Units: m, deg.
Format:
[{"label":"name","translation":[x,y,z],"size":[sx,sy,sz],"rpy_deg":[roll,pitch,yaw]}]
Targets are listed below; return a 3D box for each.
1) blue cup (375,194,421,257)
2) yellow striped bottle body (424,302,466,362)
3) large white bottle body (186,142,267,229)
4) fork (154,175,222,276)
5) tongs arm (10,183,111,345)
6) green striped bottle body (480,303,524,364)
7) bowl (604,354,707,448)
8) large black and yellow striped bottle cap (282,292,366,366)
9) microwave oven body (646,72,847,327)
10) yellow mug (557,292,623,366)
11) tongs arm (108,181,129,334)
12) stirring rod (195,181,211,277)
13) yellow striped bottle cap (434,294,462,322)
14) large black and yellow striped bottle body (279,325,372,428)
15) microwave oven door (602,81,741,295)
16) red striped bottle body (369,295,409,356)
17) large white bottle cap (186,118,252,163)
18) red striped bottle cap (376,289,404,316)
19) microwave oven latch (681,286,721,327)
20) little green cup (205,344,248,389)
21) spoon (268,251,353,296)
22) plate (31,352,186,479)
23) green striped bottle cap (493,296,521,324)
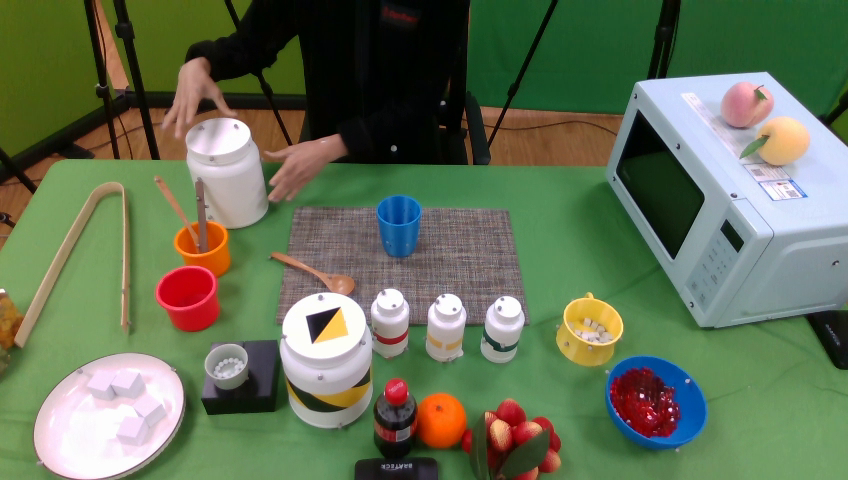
[{"label":"blue cup","translation":[-0.050,-0.022,1.155],"size":[0.093,0.101,0.092],"rpy_deg":[1,46,-1]},{"label":"yellow striped bottle body","translation":[0.035,0.143,0.995],"size":[0.063,0.121,0.062],"rpy_deg":[3,46,-3]},{"label":"large white bottle body","translation":[-0.382,-0.127,1.176],"size":[0.131,0.185,0.130],"rpy_deg":[2,47,-2]},{"label":"fork","translation":[-0.431,-0.027,1.101],"size":[0.028,0.018,0.207],"rpy_deg":[-33,100,-25]},{"label":"tongs arm","translation":[-0.658,0.027,1.109],"size":[0.028,0.028,0.385],"rpy_deg":[-2,45,2]},{"label":"green striped bottle body","translation":[0.129,0.147,1.000],"size":[0.063,0.120,0.063],"rpy_deg":[2,46,-2]},{"label":"bowl","translation":[0.346,0.261,0.937],"size":[0.151,0.077,0.150],"rpy_deg":[2,46,-2]},{"label":"large black and yellow striped bottle cap","translation":[-0.138,0.121,0.841],"size":[0.115,0.019,0.114],"rpy_deg":[3,47,-3]},{"label":"microwave oven body","translation":[0.607,-0.089,1.164],"size":[0.326,0.261,0.438],"rpy_deg":[-7,46,-10]},{"label":"yellow mug","translation":[0.285,0.145,1.051],"size":[0.100,0.064,0.130],"rpy_deg":[7,46,4]},{"label":"tongs arm","translation":[-0.571,0.019,1.123],"size":[0.051,0.026,0.382],"rpy_deg":[-10,47,-12]},{"label":"stirring rod","translation":[-0.403,-0.020,1.104],"size":[0.014,0.006,0.176],"rpy_deg":[-6,89,-9]},{"label":"yellow striped bottle cap","translation":[0.038,0.107,0.958],"size":[0.044,0.019,0.044],"rpy_deg":[2,45,-2]},{"label":"large black and yellow striped bottle body","translation":[-0.143,0.181,0.900],"size":[0.131,0.185,0.130],"rpy_deg":[2,46,-2]},{"label":"microwave oven door","translation":[0.456,-0.107,1.162],"size":[0.039,0.245,0.353],"rpy_deg":[-7,47,-11]},{"label":"red striped bottle body","translation":[-0.059,0.134,0.997],"size":[0.063,0.120,0.062],"rpy_deg":[5,47,-5]},{"label":"large white bottle cap","translation":[-0.377,-0.185,1.115],"size":[0.115,0.018,0.114],"rpy_deg":[2,47,-2]},{"label":"red striped bottle cap","translation":[-0.055,0.098,0.958],"size":[0.044,0.018,0.044],"rpy_deg":[0,48,0]},{"label":"microwave oven latch","translation":[0.494,0.119,1.086],"size":[0.030,0.029,0.078],"rpy_deg":[-5,46,-9]},{"label":"little green cup","translation":[-0.294,0.191,0.909],"size":[0.061,0.039,0.061],"rpy_deg":[1,47,-1]},{"label":"spoon","translation":[-0.212,0.057,1.121],"size":[0.193,0.022,0.041],"rpy_deg":[24,74,18]},{"label":"plate","translation":[-0.459,0.262,0.898],"size":[0.209,0.038,0.208],"rpy_deg":[2,46,-2]},{"label":"green striped bottle cap","translation":[0.133,0.111,0.962],"size":[0.044,0.020,0.044],"rpy_deg":[2,47,-2]}]
